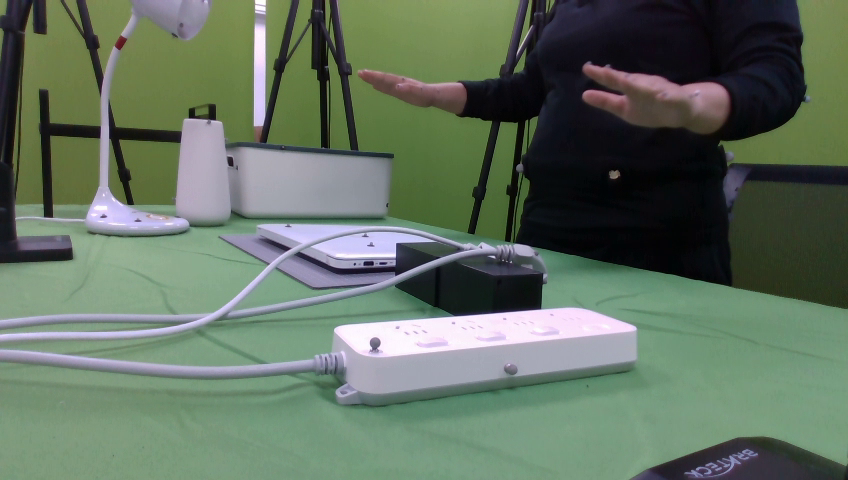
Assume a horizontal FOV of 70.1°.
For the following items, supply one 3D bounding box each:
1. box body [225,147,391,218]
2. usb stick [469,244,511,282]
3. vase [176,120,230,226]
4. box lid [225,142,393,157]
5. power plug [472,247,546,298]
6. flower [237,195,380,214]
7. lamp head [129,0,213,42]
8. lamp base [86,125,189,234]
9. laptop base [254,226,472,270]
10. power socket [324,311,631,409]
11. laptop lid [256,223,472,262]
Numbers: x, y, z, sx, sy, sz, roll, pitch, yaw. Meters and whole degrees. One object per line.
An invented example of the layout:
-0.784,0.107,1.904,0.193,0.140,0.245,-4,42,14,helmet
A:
-0.289,-0.143,1.475,0.366,0.160,0.253,-1,9,-29,box body
0.080,0.029,0.674,0.059,0.021,0.027,27,27,-30,usb stick
-0.425,-0.128,1.159,0.098,0.200,0.098,2,9,0,vase
-0.286,-0.217,1.464,0.373,0.015,0.262,-1,7,-28,box lid
0.081,0.030,0.584,0.072,0.052,0.035,11,28,8,power plug
-0.284,-0.080,1.481,0.361,0.038,0.044,5,34,7,flower
-0.423,-0.394,0.980,0.123,0.112,0.112,20,7,-3,lamp head
-0.497,-0.105,1.027,0.179,0.180,0.160,1,7,3,lamp base
-0.096,0.011,0.912,0.237,0.023,0.352,3,6,-32,laptop base
0.042,0.075,0.411,0.228,0.032,0.072,-1,8,-25,power socket
-0.092,0.000,0.912,0.243,0.013,0.355,1,7,-30,laptop lid
